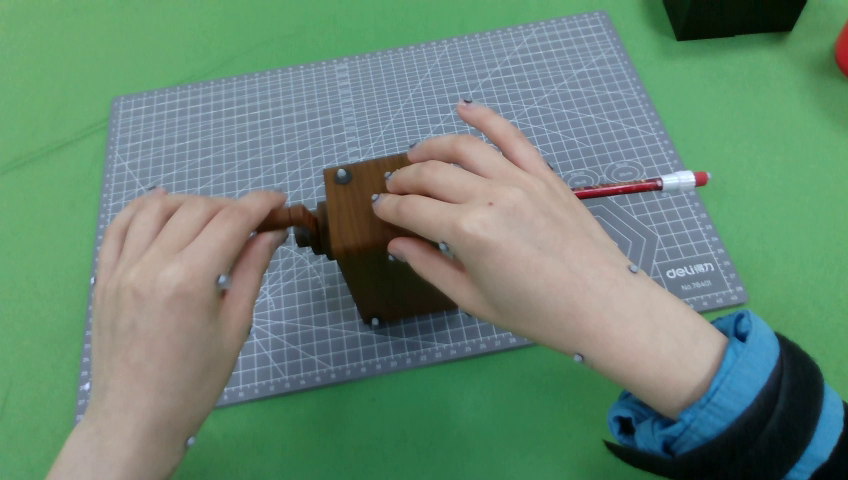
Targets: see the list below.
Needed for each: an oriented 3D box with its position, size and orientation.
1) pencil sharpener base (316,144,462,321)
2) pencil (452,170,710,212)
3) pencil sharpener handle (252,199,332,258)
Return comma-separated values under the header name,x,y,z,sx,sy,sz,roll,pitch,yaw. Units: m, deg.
name,x,y,z,sx,sy,sz,roll,pitch,yaw
pencil sharpener base,-0.020,0.000,0.381,0.077,0.108,0.061,-11,59,-1
pencil,0.076,-0.027,0.363,0.194,0.012,0.012,-6,59,-4
pencil sharpener handle,-0.073,-0.008,0.340,0.030,0.068,0.036,-11,78,-1
